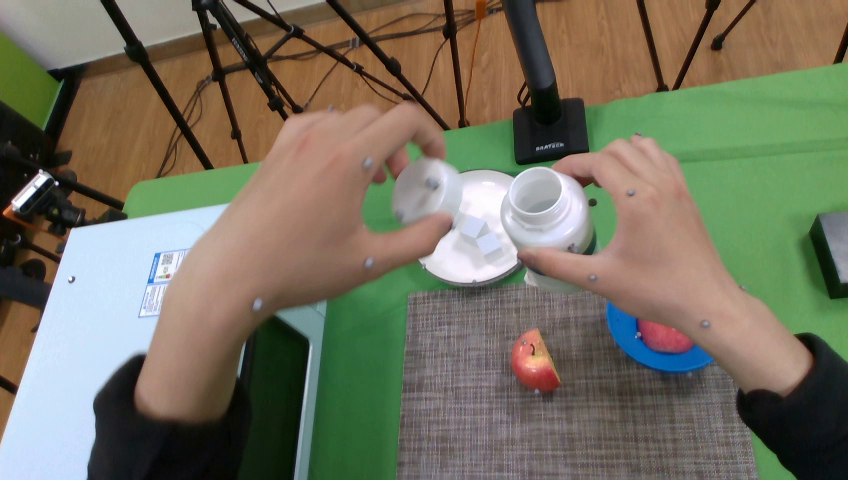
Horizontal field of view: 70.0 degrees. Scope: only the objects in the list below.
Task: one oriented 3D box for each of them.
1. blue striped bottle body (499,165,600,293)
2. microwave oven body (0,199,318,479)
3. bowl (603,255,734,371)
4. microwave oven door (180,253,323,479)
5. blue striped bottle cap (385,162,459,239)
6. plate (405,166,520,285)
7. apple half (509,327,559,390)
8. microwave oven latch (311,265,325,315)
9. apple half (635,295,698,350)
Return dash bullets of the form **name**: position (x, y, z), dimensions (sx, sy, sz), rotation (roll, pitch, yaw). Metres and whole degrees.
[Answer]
- **blue striped bottle body**: position (0.095, -0.009, 0.457), dimensions (0.063, 0.122, 0.062), rotation (-9, 62, 18)
- **microwave oven body**: position (-0.350, 0.209, 0.843), dimensions (0.325, 0.263, 0.438), rotation (-7, 61, 15)
- **bowl**: position (0.310, 0.103, 0.779), dimensions (0.151, 0.077, 0.150), rotation (-9, 60, 16)
- **microwave oven door**: position (-0.212, 0.225, 0.781), dimensions (0.039, 0.246, 0.352), rotation (-8, 61, 15)
- **blue striped bottle cap**: position (-0.002, -0.024, 0.364), dimensions (0.044, 0.021, 0.044), rotation (-14, 68, 36)
- **plate**: position (0.074, -0.020, 0.957), dimensions (0.207, 0.039, 0.206), rotation (-8, 61, 15)
- **apple half**: position (0.142, 0.164, 0.809), dimensions (0.053, 0.075, 0.080), rotation (-25, 61, 9)
- **microwave oven latch**: position (-0.175, 0.080, 0.968), dimensions (0.030, 0.030, 0.078), rotation (-9, 61, 14)
- **apple half**: position (0.310, 0.102, 0.774), dimensions (0.081, 0.033, 0.080), rotation (-9, 59, 15)
